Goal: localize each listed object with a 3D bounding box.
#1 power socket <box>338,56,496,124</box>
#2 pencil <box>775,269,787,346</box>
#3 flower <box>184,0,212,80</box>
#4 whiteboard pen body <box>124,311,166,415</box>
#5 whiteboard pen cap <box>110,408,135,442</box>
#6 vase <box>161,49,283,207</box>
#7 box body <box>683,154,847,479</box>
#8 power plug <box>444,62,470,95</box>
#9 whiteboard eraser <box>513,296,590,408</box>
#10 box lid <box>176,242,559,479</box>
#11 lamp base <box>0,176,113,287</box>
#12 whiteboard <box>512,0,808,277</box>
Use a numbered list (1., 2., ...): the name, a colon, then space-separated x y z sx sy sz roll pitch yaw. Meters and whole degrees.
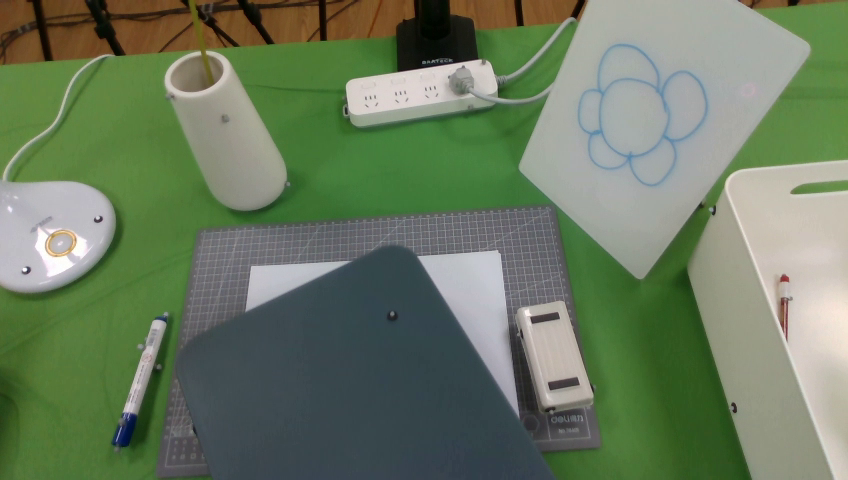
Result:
1. power socket: -0.009 -0.212 0.850 0.227 0.033 0.071 -9 60 -3
2. pencil: 0.376 0.117 0.640 0.012 0.012 0.193 13 63 11
3. flower: -0.234 -0.184 0.652 0.038 0.365 0.043 -14 41 -13
4. whiteboard pen body: -0.306 0.141 0.658 0.017 0.017 0.139 -1 55 3
5. whiteboard pen cap: -0.310 0.190 0.625 0.018 0.018 0.033 0 53 3
6. vase: -0.235 -0.125 0.713 0.098 0.202 0.097 -2 58 4
7. box body: 0.419 0.111 0.557 0.254 0.162 0.360 -5 59 0
8. power plug: 0.045 -0.208 0.818 0.035 0.053 0.072 0 60 3
9. whiteboard eraser: 0.132 0.117 0.636 0.055 0.042 0.111 -8 59 -4
10. box lid: -0.052 0.181 0.543 0.263 0.015 0.367 -26 61 -13
11. lamp base: -0.486 -0.057 0.696 0.178 0.182 0.160 25 63 20
12. whiteboard: 0.264 -0.150 0.675 0.144 0.307 0.215 -23 58 -32
